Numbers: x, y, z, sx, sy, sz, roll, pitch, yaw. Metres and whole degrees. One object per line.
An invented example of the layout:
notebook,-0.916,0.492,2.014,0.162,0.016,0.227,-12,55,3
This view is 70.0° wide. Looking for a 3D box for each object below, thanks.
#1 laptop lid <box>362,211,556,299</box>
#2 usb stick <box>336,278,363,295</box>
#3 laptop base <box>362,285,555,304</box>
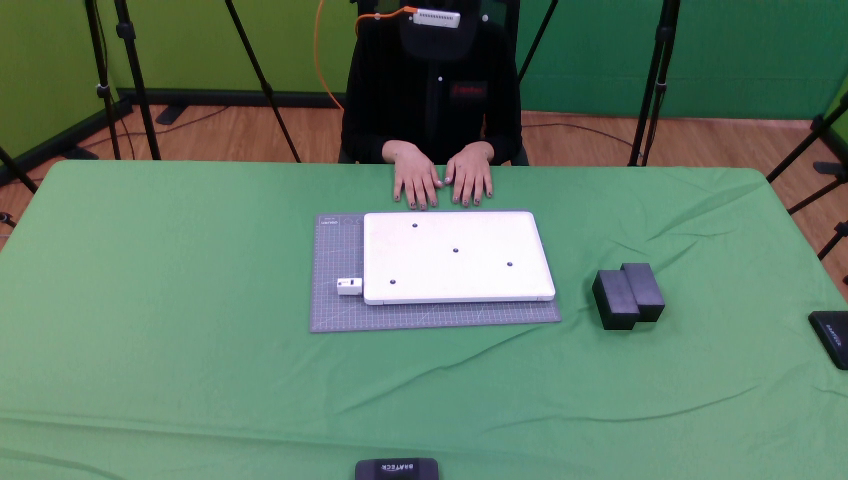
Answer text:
laptop lid,0.059,0.022,1.168,0.357,0.013,0.240,0,44,-4
usb stick,-0.128,0.083,1.094,0.059,0.027,0.021,2,44,-5
laptop base,0.059,0.032,1.174,0.355,0.023,0.234,-1,43,-5
